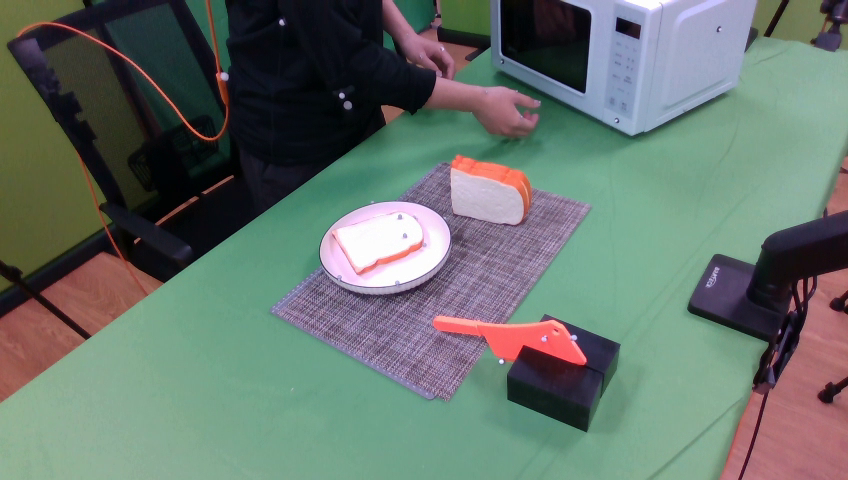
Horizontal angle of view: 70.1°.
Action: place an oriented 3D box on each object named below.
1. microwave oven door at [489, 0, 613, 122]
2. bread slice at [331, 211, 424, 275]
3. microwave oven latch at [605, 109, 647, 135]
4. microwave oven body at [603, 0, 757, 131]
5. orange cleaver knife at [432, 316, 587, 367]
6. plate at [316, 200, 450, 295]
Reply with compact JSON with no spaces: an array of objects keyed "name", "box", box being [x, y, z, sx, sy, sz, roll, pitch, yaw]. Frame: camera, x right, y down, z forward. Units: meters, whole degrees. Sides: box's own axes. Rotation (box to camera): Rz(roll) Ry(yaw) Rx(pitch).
[{"name":"microwave oven door","box":[0.251,-0.412,1.219,0.039,0.245,0.352,-27,44,-21]},{"name":"bread slice","box":[-0.069,-0.002,0.960,0.135,0.018,0.106,-23,46,-21]},{"name":"microwave oven latch","box":[0.379,-0.225,1.139,0.030,0.029,0.078,-26,43,-19]},{"name":"microwave oven body","box":[0.396,-0.448,1.248,0.327,0.261,0.437,-27,44,-21]},{"name":"orange cleaver knife","box":[0.101,0.127,0.761,0.210,0.077,0.012,-1,34,40]},{"name":"plate","box":[-0.062,0.015,0.944,0.207,0.039,0.206,-4,41,4]}]
